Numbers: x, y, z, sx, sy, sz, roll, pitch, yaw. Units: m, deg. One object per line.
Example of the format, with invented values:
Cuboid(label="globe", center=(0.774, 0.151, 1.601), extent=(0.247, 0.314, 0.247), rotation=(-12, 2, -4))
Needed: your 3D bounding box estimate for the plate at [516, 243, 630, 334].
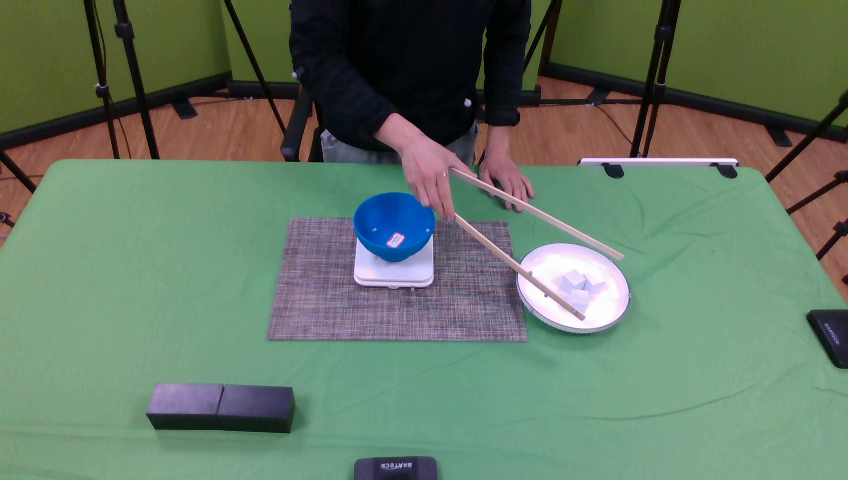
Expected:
Cuboid(label="plate", center=(0.272, 0.092, 1.120), extent=(0.208, 0.039, 0.206), rotation=(2, 46, -2))

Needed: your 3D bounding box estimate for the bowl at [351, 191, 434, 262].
Cuboid(label="bowl", center=(-0.057, -0.013, 1.119), extent=(0.151, 0.077, 0.150), rotation=(2, 46, -1))

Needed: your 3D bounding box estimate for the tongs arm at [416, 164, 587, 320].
Cuboid(label="tongs arm", center=(0.130, 0.000, 1.048), extent=(0.384, 0.026, 0.050), rotation=(37, 74, 10))

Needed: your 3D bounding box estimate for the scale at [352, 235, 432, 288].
Cuboid(label="scale", center=(-0.060, 0.010, 1.171), extent=(0.149, 0.032, 0.199), rotation=(2, 46, -3))

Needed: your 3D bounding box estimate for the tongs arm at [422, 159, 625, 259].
Cuboid(label="tongs arm", center=(0.172, -0.056, 1.070), extent=(0.387, 0.028, 0.028), rotation=(27, 76, 7))
